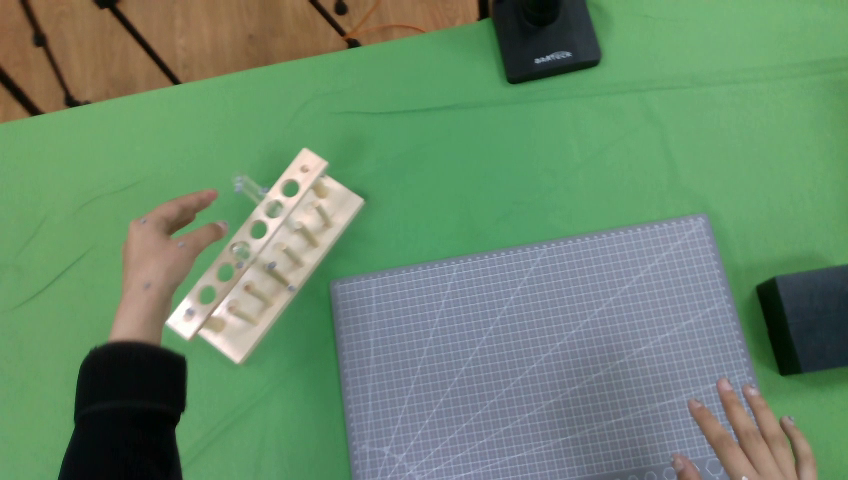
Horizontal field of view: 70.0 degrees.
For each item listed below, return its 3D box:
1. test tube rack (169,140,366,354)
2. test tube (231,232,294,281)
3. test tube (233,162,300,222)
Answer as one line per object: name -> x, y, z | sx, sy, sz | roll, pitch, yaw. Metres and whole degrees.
test tube rack -> -0.173, 0.011, 0.698 | 0.066, 0.085, 0.242 | 34, 81, 13
test tube -> -0.171, 0.020, 0.649 | 0.017, 0.151, 0.017 | -2, 72, 6
test tube -> -0.167, -0.049, 0.662 | 0.017, 0.151, 0.017 | -3, 73, 10
